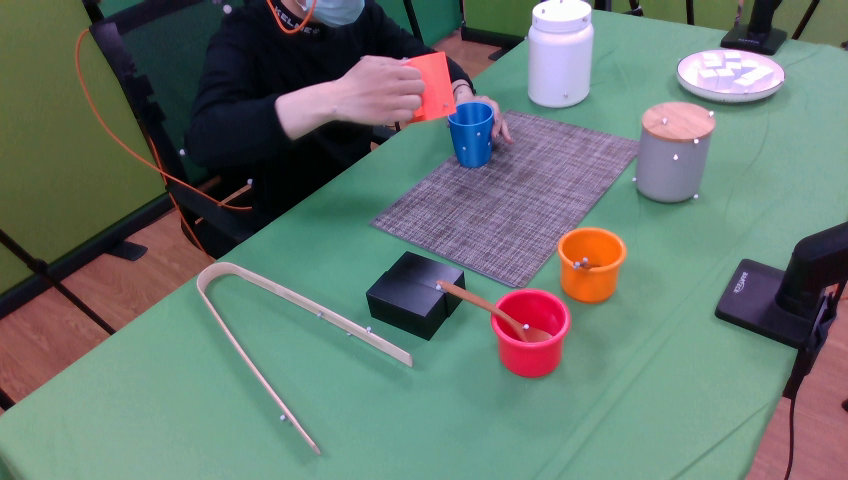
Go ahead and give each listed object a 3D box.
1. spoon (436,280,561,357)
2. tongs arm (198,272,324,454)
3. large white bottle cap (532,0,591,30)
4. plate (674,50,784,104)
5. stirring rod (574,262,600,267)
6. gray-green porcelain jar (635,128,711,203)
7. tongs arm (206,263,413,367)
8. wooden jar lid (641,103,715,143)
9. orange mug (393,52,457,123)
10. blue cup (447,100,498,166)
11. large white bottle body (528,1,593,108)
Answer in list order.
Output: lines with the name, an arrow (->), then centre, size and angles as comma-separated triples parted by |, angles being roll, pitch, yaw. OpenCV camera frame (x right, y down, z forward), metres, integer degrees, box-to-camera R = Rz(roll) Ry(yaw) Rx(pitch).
spoon -> 0.096, 0.095, 0.757 | 0.195, 0.021, 0.041 | 34, 41, -20
tongs arm -> -0.236, 0.155, 0.831 | 0.028, 0.028, 0.384 | -37, 48, -18
large white bottle cap -> 0.274, -0.449, 1.204 | 0.115, 0.018, 0.114 | -4, 41, 4
plate -> 0.631, -0.336, 1.262 | 0.207, 0.039, 0.206 | -4, 41, 4
stirring rod -> 0.222, 0.033, 0.816 | 0.014, 0.006, 0.177 | 7, 1, 22
gray-green porcelain jar -> 0.405, -0.133, 0.992 | 0.106, 0.127, 0.105 | -4, 40, 4
tongs arm -> -0.179, 0.107, 0.870 | 0.382, 0.027, 0.051 | 23, 55, 32
wooden jar lid -> 0.398, -0.180, 0.952 | 0.108, 0.021, 0.108 | -4, 43, 4
orange mug -> -0.005, -0.240, 0.959 | 0.083, 0.101, 0.126 | -6, 12, 25
blue cup -> 0.090, -0.194, 1.121 | 0.092, 0.101, 0.092 | -5, 43, 5
large white bottle body -> 0.283, -0.386, 1.259 | 0.130, 0.185, 0.130 | -5, 41, 5
